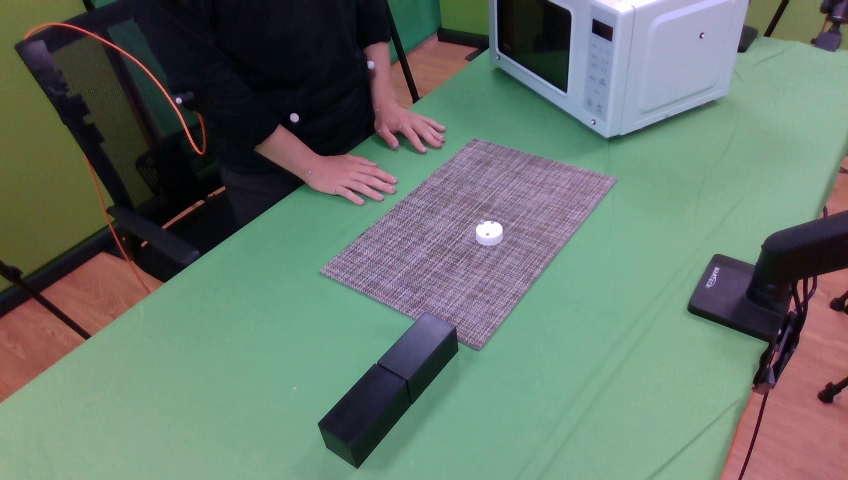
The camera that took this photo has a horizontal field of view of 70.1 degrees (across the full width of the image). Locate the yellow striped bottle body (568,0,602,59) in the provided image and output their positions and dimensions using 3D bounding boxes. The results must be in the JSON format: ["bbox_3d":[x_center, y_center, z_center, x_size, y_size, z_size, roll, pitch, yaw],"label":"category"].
[{"bbox_3d":[0.337,-0.448,1.268,0.063,0.121,0.062,-4,43,4],"label":"yellow striped bottle body"}]

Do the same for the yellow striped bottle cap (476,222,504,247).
[{"bbox_3d":[0.105,-0.010,0.966,0.044,0.019,0.044,-3,39,3],"label":"yellow striped bottle cap"}]

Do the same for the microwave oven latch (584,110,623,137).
[{"bbox_3d":[0.337,-0.222,1.142,0.030,0.029,0.078,-21,42,-15],"label":"microwave oven latch"}]

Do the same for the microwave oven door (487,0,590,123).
[{"bbox_3d":[0.231,-0.420,1.230,0.039,0.245,0.352,-22,43,-16],"label":"microwave oven door"}]

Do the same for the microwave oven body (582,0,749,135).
[{"bbox_3d":[0.382,-0.444,1.246,0.327,0.261,0.437,-22,42,-16],"label":"microwave oven body"}]
